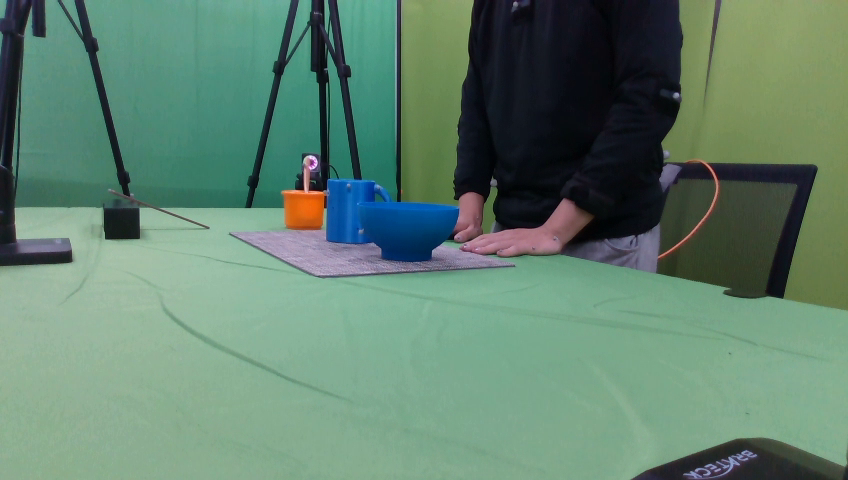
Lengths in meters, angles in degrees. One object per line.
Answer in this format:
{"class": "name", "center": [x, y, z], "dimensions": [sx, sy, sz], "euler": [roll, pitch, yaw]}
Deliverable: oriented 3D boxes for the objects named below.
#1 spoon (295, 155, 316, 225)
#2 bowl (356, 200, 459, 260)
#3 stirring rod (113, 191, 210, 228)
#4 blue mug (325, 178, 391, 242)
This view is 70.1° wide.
{"class": "spoon", "center": [-0.247, -0.108, 1.262], "dimensions": [0.042, 0.021, 0.193], "euler": [5, 46, -16]}
{"class": "bowl", "center": [-0.025, -0.015, 0.877], "dimensions": [0.151, 0.077, 0.151], "euler": [2, 7, 0]}
{"class": "stirring rod", "center": [-0.484, -0.055, 1.121], "dimensions": [0.177, 0.006, 0.014], "euler": [22, -6, -22]}
{"class": "blue mug", "center": [-0.111, -0.052, 1.034], "dimensions": [0.116, 0.106, 0.082], "euler": [3, 7, 7]}
